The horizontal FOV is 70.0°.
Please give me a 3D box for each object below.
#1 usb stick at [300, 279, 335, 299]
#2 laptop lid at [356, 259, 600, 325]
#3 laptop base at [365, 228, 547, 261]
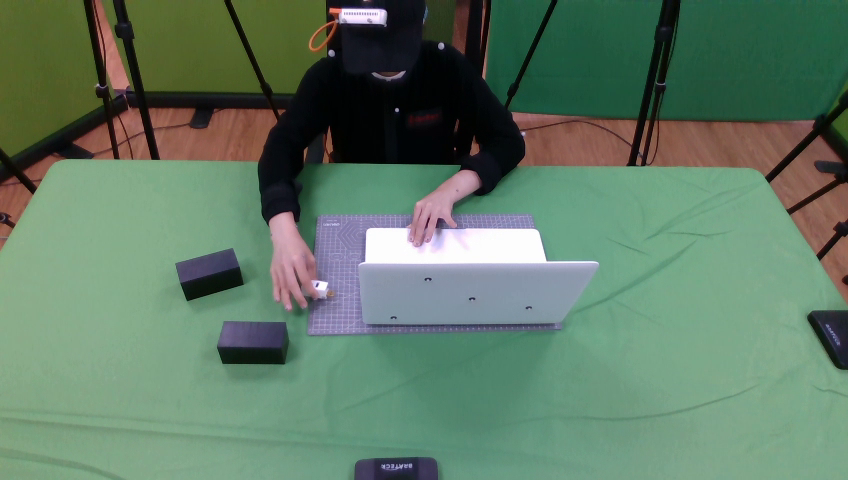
[{"bbox_3d":[-0.188,0.089,1.075,0.059,0.027,0.021,11,46,1],"label":"usb stick"},{"bbox_3d":[0.075,0.088,0.958,0.357,0.242,0.013,1,60,-5],"label":"laptop lid"},{"bbox_3d":[0.064,0.063,1.143,0.355,0.023,0.234,0,42,-4],"label":"laptop base"}]
